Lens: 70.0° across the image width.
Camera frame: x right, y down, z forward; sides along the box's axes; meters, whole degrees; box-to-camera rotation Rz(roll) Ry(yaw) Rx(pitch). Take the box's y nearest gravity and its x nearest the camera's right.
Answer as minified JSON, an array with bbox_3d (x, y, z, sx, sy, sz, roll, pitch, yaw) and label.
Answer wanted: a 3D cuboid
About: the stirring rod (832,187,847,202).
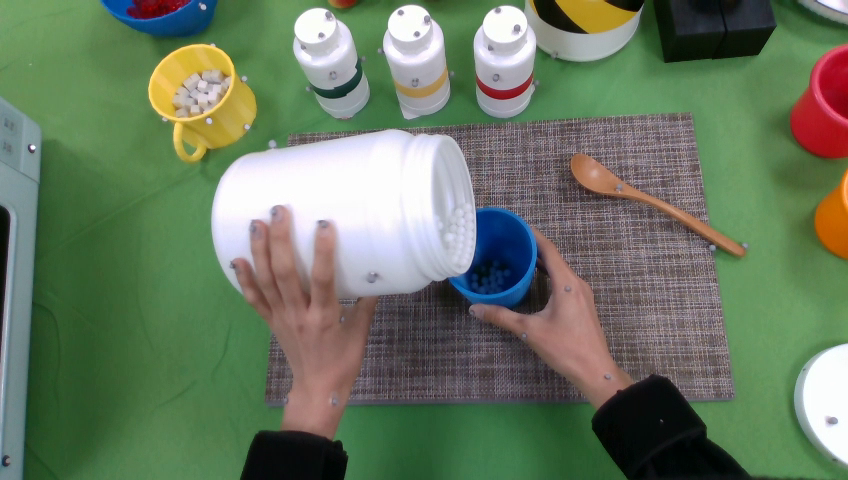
[{"bbox_3d":[0.409,-0.011,0.530,0.014,0.006,0.175,0,28,4],"label":"stirring rod"}]

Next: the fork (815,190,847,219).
[{"bbox_3d":[0.437,-0.010,0.518,0.028,0.205,0.019,-23,114,-15],"label":"fork"}]

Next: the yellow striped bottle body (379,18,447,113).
[{"bbox_3d":[-0.011,-0.193,0.649,0.063,0.121,0.062,-2,70,7],"label":"yellow striped bottle body"}]

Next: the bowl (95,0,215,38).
[{"bbox_3d":[-0.314,-0.305,0.744,0.151,0.077,0.150,-2,71,5],"label":"bowl"}]

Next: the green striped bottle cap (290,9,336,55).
[{"bbox_3d":[-0.112,-0.210,0.611,0.044,0.020,0.044,-2,70,5],"label":"green striped bottle cap"}]

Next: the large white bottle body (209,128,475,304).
[{"bbox_3d":[-0.062,-0.018,0.494,0.184,0.132,0.129,-7,69,21],"label":"large white bottle body"}]

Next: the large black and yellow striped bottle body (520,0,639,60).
[{"bbox_3d":[0.167,-0.292,0.628,0.130,0.185,0.130,-2,71,6],"label":"large black and yellow striped bottle body"}]

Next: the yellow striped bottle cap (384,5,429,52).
[{"bbox_3d":[-0.017,-0.210,0.600,0.044,0.019,0.044,-2,72,6],"label":"yellow striped bottle cap"}]

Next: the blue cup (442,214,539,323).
[{"bbox_3d":[0.069,0.036,0.569,0.092,0.101,0.092,-8,64,16],"label":"blue cup"}]

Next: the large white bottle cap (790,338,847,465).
[{"bbox_3d":[0.392,0.145,0.542,0.115,0.018,0.114,-2,70,6],"label":"large white bottle cap"}]

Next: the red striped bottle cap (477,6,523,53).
[{"bbox_3d":[0.074,-0.204,0.587,0.044,0.018,0.044,-1,69,2],"label":"red striped bottle cap"}]

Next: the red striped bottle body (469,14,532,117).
[{"bbox_3d":[0.082,-0.186,0.636,0.063,0.120,0.062,-3,69,9],"label":"red striped bottle body"}]

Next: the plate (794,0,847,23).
[{"bbox_3d":[0.488,-0.325,0.680,0.209,0.038,0.207,-2,72,6],"label":"plate"}]

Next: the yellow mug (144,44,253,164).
[{"bbox_3d":[-0.259,-0.149,0.691,0.100,0.064,0.130,8,73,8],"label":"yellow mug"}]

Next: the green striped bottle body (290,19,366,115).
[{"bbox_3d":[-0.105,-0.193,0.660,0.063,0.120,0.063,-2,70,6],"label":"green striped bottle body"}]

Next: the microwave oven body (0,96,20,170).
[{"bbox_3d":[-0.595,0.052,0.554,0.326,0.262,0.438,-11,71,2],"label":"microwave oven body"}]

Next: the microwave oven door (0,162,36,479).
[{"bbox_3d":[-0.446,0.061,0.528,0.039,0.245,0.353,-11,70,3],"label":"microwave oven door"}]

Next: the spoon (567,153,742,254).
[{"bbox_3d":[0.232,-0.037,0.616,0.193,0.022,0.041,29,52,14],"label":"spoon"}]

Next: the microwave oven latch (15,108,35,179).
[{"bbox_3d":[-0.468,-0.109,0.696,0.030,0.030,0.078,-10,71,3],"label":"microwave oven latch"}]
